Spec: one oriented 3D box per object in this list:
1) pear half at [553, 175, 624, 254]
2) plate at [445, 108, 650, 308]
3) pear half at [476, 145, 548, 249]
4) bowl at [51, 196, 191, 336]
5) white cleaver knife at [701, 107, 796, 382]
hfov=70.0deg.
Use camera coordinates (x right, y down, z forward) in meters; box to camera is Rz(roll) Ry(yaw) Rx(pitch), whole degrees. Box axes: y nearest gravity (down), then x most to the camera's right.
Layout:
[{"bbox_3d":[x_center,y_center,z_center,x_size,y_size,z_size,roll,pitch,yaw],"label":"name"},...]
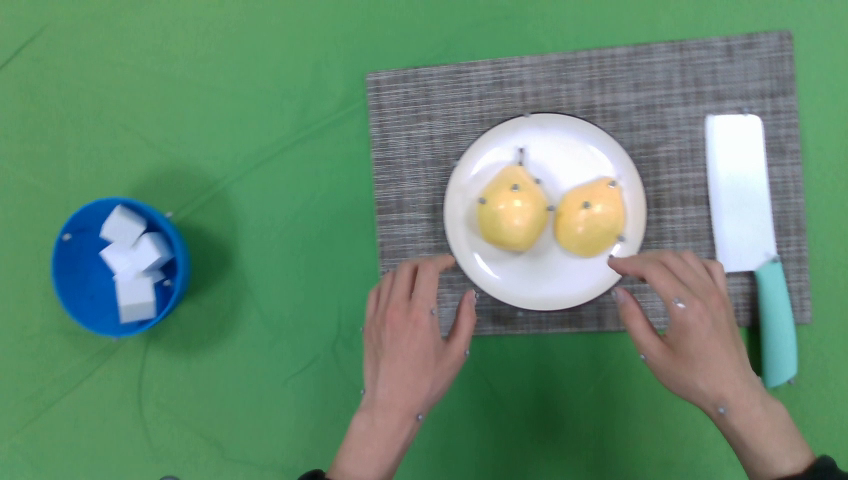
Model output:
[{"bbox_3d":[0.174,-0.028,0.628,0.070,0.031,0.088,29,99,2],"label":"pear half"},{"bbox_3d":[0.127,-0.033,0.639,0.207,0.039,0.207,0,90,7],"label":"plate"},{"bbox_3d":[0.093,-0.047,0.629,0.076,0.056,0.109,6,88,3],"label":"pear half"},{"bbox_3d":[-0.321,0.028,0.678,0.151,0.077,0.151,0,90,7],"label":"bowl"},{"bbox_3d":[0.333,0.003,0.627,0.066,0.021,0.286,-7,86,14],"label":"white cleaver knife"}]
